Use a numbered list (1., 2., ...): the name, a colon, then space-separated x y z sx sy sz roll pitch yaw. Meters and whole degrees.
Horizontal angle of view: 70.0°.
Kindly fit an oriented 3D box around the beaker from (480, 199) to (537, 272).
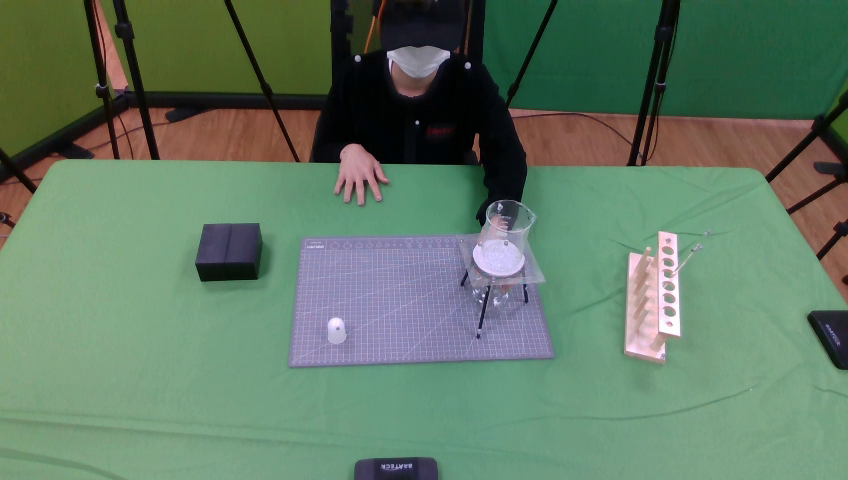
1. beaker: 0.132 -0.004 0.973 0.084 0.101 0.073 -4 47 -9

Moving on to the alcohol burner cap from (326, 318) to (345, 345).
1. alcohol burner cap: -0.149 0.151 1.023 0.034 0.048 0.033 3 46 -2

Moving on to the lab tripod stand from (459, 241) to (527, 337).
1. lab tripod stand: 0.122 0.075 1.054 0.148 0.132 0.147 3 44 -3

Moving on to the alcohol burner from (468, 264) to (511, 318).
1. alcohol burner: 0.117 0.082 1.061 0.078 0.119 0.077 3 47 -3

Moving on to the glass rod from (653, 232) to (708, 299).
1. glass rod: 0.441 0.049 1.050 0.008 0.200 0.008 4 52 -5

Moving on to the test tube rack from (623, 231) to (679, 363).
1. test tube rack: 0.410 0.094 1.096 0.066 0.085 0.241 13 46 9

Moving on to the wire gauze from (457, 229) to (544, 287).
1. wire gauze: 0.125 0.030 1.008 0.125 0.011 0.120 -3 48 -11
